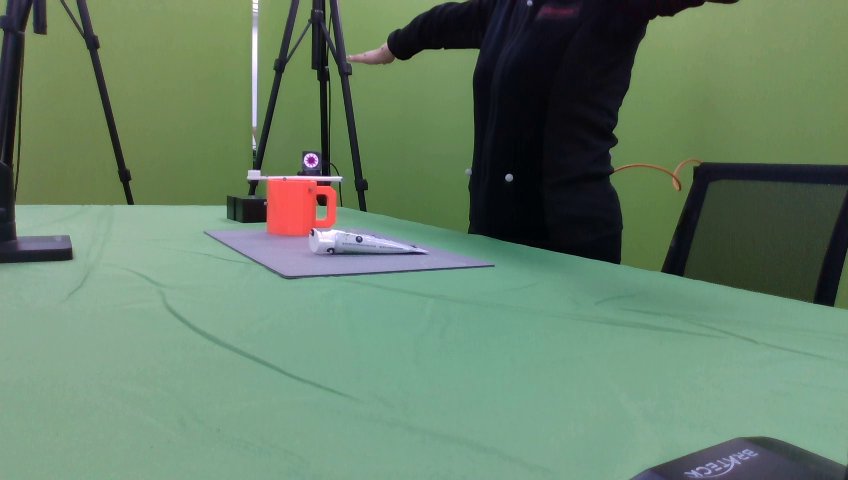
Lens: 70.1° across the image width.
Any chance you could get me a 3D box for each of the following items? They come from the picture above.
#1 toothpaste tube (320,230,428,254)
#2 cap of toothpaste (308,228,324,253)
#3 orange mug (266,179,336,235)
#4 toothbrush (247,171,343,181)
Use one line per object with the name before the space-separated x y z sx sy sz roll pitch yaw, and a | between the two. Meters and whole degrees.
toothpaste tube | -0.078 0.006 0.891 0.166 0.034 0.055 4 11 -26
cap of toothpaste | -0.153 0.001 0.857 0.011 0.037 0.037 -5 10 -36
orange mug | -0.222 -0.062 1.094 0.127 0.101 0.083 -5 10 -22
toothbrush | -0.230 -0.115 1.092 0.183 0.016 0.014 -2 5 -35
